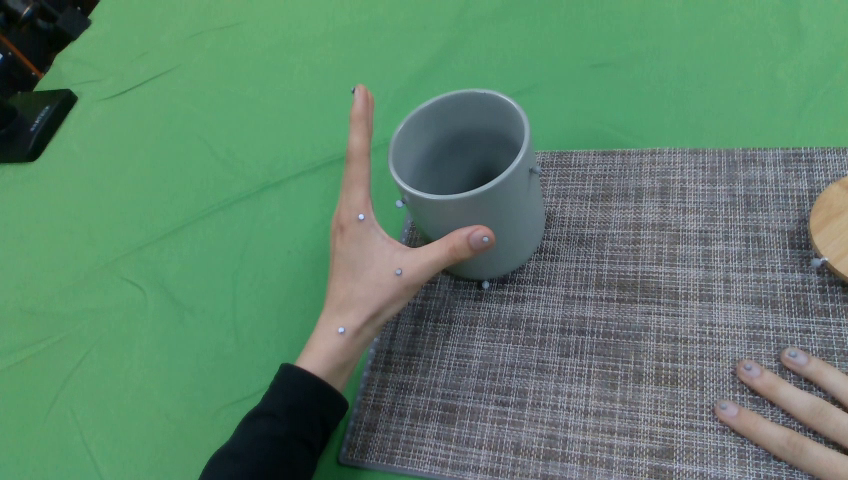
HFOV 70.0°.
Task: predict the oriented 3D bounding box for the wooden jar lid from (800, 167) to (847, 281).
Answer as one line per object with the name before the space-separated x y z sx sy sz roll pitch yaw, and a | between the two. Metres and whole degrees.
wooden jar lid | 0.328 -0.007 0.430 0.108 0.021 0.107 -8 57 13

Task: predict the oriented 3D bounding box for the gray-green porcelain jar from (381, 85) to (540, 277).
gray-green porcelain jar | 0.035 -0.039 0.479 0.105 0.128 0.105 -8 56 12
